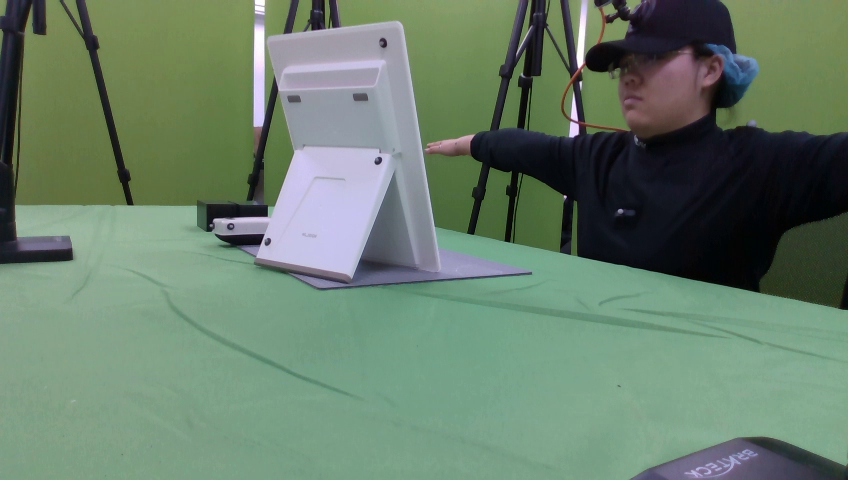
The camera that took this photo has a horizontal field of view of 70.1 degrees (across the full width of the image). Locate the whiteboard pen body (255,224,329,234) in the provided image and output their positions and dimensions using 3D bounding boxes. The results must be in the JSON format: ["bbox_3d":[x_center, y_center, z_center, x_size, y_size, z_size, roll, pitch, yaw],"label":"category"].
[{"bbox_3d":[-0.239,-0.019,1.105,0.141,0.017,0.017,-2,9,-34],"label":"whiteboard pen body"}]

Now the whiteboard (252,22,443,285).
[{"bbox_3d":[-0.125,-0.081,0.715,0.216,0.305,0.144,8,29,35],"label":"whiteboard"}]

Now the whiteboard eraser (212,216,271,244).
[{"bbox_3d":[-0.266,-0.016,0.942,0.113,0.042,0.055,-2,10,-35],"label":"whiteboard eraser"}]

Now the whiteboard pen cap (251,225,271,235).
[{"bbox_3d":[-0.288,-0.019,1.071,0.033,0.018,0.018,-3,10,-34],"label":"whiteboard pen cap"}]
